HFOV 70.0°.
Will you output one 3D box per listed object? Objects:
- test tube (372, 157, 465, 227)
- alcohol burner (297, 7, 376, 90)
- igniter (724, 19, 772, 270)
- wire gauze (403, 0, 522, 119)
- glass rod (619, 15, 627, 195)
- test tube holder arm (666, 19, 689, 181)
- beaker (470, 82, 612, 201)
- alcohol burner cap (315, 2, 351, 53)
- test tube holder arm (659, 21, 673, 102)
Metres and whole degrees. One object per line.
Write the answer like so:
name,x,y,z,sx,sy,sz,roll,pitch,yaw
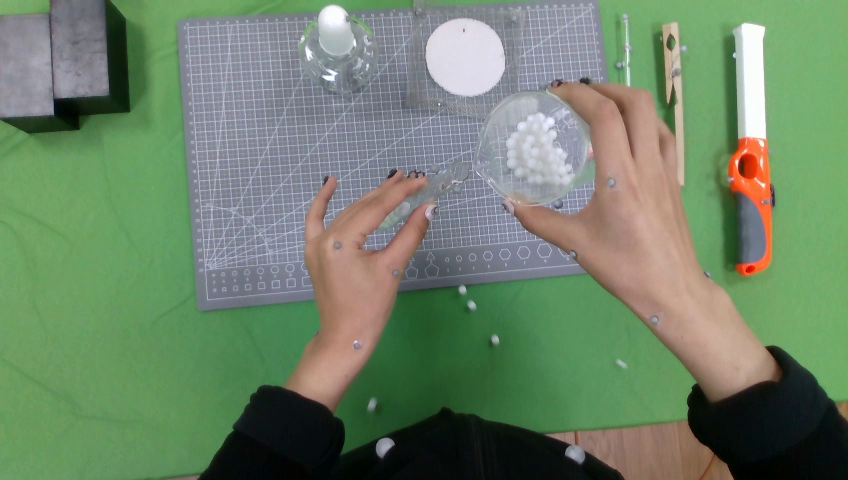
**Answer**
test tube,-0.010,-0.034,0.482,0.017,0.150,0.017,7,74,-25
alcohol burner,-0.085,-0.190,0.582,0.078,0.119,0.077,0,85,-3
igniter,0.355,-0.105,0.665,0.057,0.025,0.276,3,85,-16
wire gauze,0.042,-0.197,0.648,0.125,0.011,0.121,6,86,-6
glass rod,0.218,-0.148,0.664,0.008,0.008,0.199,0,88,-6
test tube holder arm,0.277,-0.153,0.663,0.013,0.015,0.178,-8,85,32
beaker,0.088,-0.071,0.433,0.083,0.100,0.074,-14,95,31
alcohol burner cap,-0.083,-0.195,0.546,0.034,0.048,0.033,1,79,-5
test tube holder arm,0.269,-0.197,0.670,0.010,0.015,0.087,-6,85,32
